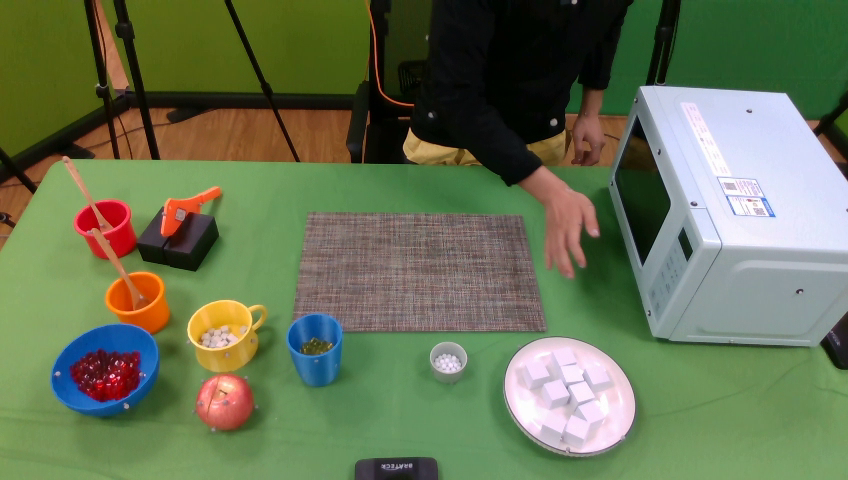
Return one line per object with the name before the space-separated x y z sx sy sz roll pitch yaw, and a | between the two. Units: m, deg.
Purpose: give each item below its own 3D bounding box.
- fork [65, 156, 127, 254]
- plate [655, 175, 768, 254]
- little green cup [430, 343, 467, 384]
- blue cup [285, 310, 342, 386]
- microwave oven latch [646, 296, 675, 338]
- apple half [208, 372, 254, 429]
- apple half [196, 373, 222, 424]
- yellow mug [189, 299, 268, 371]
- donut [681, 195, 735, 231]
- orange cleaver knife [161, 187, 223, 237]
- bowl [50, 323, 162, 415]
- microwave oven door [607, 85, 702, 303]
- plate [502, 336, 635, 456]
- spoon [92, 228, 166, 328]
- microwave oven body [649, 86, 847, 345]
fork | -0.614 -0.064 1.130 0.028 0.018 0.207 -29 97 -17
plate | 0.555 -0.046 1.184 0.209 0.038 0.208 2 46 -2
little green cup | 0.039 0.203 0.993 0.061 0.039 0.061 2 46 -2
blue cup | -0.169 0.180 0.958 0.093 0.101 0.092 1 44 -1
microwave oven latch | 0.412 0.134 1.061 0.030 0.029 0.078 4 45 1
apple half | -0.283 0.244 0.908 0.053 0.075 0.080 7 43 -2
apple half | -0.322 0.239 0.907 0.033 0.081 0.081 7 46 -1
yellow mug | -0.315 0.148 1.001 0.131 0.064 0.099 -32 56 -31
donut | 0.551 -0.054 1.177 0.099 0.048 0.098 1 36 0
orange cleaver knife | -0.448 -0.058 1.180 0.012 0.077 0.211 13 17 6
bowl | -0.472 0.209 0.924 0.151 0.077 0.150 2 45 -2
microwave oven door | 0.423 -0.094 1.141 0.039 0.245 0.353 2 46 -1
plate | 0.225 0.248 0.963 0.208 0.039 0.206 2 46 -2
spoon | -0.495 0.062 1.014 0.041 0.194 0.021 -34 13 -32
microwave oven body | 0.568 -0.053 1.118 0.326 0.261 0.439 2 45 -1
